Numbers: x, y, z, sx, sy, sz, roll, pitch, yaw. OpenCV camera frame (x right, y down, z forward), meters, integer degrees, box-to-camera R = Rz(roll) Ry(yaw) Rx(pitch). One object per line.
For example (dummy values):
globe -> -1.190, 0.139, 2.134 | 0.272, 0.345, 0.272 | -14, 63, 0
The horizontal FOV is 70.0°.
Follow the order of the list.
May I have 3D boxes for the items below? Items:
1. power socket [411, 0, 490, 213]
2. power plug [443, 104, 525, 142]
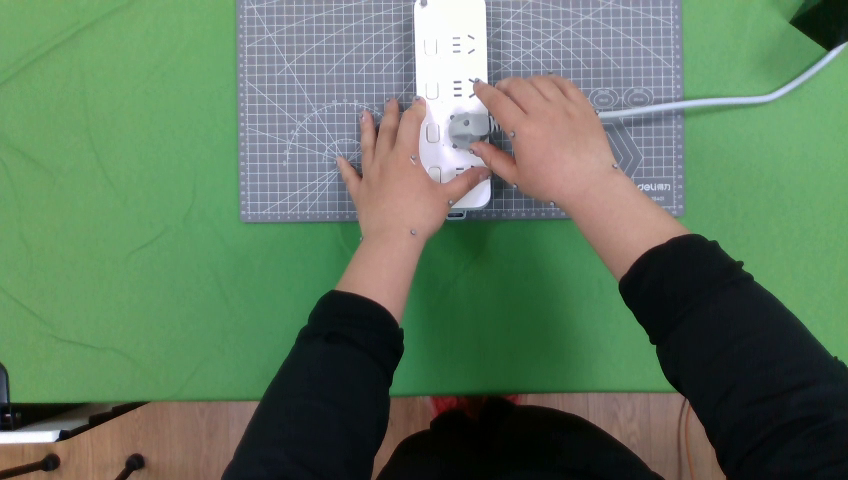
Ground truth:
power socket -> 0.026, -0.141, 0.598 | 0.072, 0.032, 0.226 | -2, 90, 1
power plug -> 0.055, -0.108, 0.579 | 0.072, 0.052, 0.035 | 12, 90, -1
